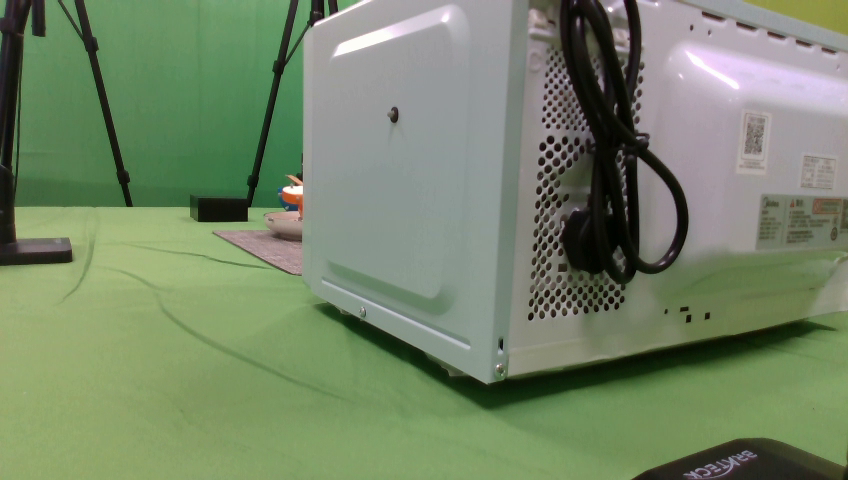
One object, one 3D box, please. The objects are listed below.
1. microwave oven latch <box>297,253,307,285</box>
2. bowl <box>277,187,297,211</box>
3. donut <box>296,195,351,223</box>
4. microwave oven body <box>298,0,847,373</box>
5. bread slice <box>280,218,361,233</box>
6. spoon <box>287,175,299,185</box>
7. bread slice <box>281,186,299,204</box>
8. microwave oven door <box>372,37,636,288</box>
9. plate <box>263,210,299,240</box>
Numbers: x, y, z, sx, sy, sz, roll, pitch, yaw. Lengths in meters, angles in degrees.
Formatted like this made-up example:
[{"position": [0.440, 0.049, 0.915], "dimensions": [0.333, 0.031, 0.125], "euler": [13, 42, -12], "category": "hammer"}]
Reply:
[{"position": [-0.082, 0.027, 0.582], "dimensions": [0.079, 0.029, 0.030], "euler": [-1, 8, -33], "category": "microwave oven latch"}, {"position": [-0.241, -0.073, 1.303], "dimensions": [0.151, 0.077, 0.151], "euler": [2, 7, 0], "category": "bowl"}, {"position": [-0.179, -0.056, 1.078], "dimensions": [0.099, 0.048, 0.099], "euler": [4, 2, 0], "category": "donut"}, {"position": [0.151, -0.055, 0.542], "dimensions": [0.444, 0.260, 0.324], "euler": [-1, 7, -33], "category": "microwave oven body"}, {"position": [-0.187, -0.026, 1.075], "dimensions": [0.135, 0.018, 0.106], "euler": [-1, 7, -22], "category": "bread slice"}, {"position": [-0.262, -0.110, 1.342], "dimensions": [0.042, 0.021, 0.192], "euler": [-6, 32, -34], "category": "spoon"}, {"position": [-0.185, -0.082, 1.070], "dimensions": [0.132, 0.019, 0.104], "euler": [-2, 14, -18], "category": "bread slice"}, {"position": [0.109, -0.080, 0.686], "dimensions": [0.358, 0.243, 0.039], "euler": [-2, 9, -33], "category": "microwave oven door"}, {"position": [-0.180, -0.026, 1.079], "dimensions": [0.208, 0.039, 0.207], "euler": [3, 7, 0], "category": "plate"}]
